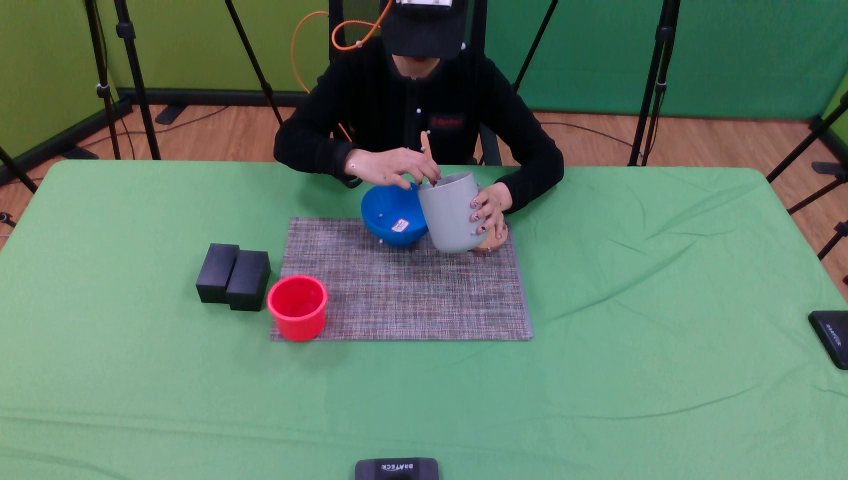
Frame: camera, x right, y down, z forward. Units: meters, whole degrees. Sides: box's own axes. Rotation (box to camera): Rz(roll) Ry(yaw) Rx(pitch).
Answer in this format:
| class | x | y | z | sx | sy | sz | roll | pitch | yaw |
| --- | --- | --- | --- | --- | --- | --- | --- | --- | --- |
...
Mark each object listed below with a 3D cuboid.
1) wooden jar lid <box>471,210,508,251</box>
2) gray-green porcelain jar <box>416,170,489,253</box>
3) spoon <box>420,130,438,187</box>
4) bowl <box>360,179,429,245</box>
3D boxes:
| class | x | y | z | sx | sy | sz | roll | pitch | yaw |
| --- | --- | --- | --- | --- | --- | --- | --- | --- | --- |
| wooden jar lid | 0.115 | -0.018 | 1.220 | 0.108 | 0.021 | 0.107 | 3 | 47 | -3 |
| gray-green porcelain jar | 0.054 | -0.048 | 1.077 | 0.106 | 0.127 | 0.105 | -17 | 14 | 4 |
| spoon | 0.020 | -0.096 | 1.057 | 0.041 | 0.021 | 0.193 | -15 | 92 | -1 |
| bowl | -0.049 | -0.042 | 1.190 | 0.151 | 0.077 | 0.150 | 2 | 46 | -2 |
